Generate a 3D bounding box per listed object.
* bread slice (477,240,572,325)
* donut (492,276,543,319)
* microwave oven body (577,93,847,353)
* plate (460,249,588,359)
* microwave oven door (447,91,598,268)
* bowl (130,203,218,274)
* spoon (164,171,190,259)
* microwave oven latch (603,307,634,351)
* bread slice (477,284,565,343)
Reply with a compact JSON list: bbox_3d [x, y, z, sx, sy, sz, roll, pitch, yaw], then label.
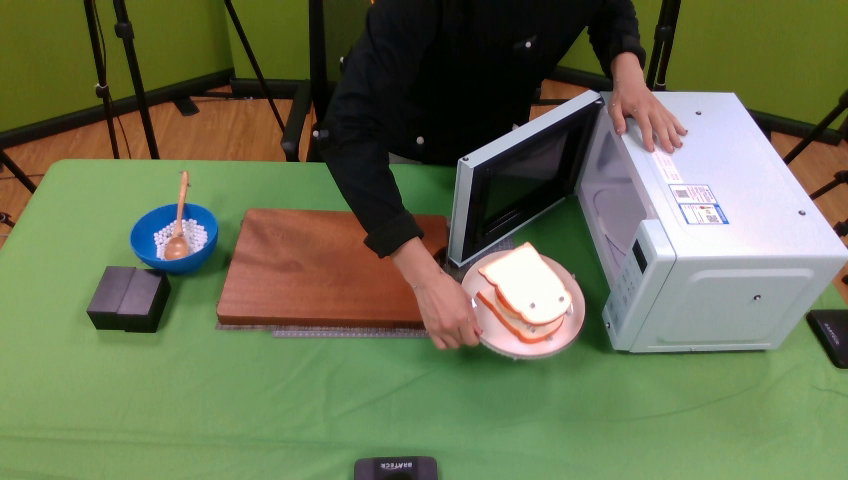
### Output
[{"bbox_3d":[0.166,0.070,0.950,0.107,0.018,0.133,-30,65,-25],"label":"bread slice"},{"bbox_3d":[0.158,0.083,0.976,0.099,0.048,0.098,-4,51,6],"label":"donut"},{"bbox_3d":[0.475,-0.042,1.109,0.326,0.261,0.438,-1,45,-4],"label":"microwave oven body"},{"bbox_3d":[0.161,0.106,0.995,0.208,0.039,0.206,2,52,-2],"label":"plate"},{"bbox_3d":[0.192,-0.120,1.157,0.356,0.245,0.039,-31,55,-30],"label":"microwave oven door"},{"bbox_3d":[-0.451,0.009,1.116,0.151,0.077,0.150,3,45,-3],"label":"bowl"},{"bbox_3d":[-0.452,-0.046,1.129,0.041,0.022,0.193,-1,69,-3],"label":"spoon"},{"bbox_3d":[0.332,0.153,1.044,0.030,0.029,0.078,0,45,-3],"label":"microwave oven latch"},{"bbox_3d":[0.168,0.106,0.997,0.105,0.019,0.131,-29,57,-21],"label":"bread slice"}]
